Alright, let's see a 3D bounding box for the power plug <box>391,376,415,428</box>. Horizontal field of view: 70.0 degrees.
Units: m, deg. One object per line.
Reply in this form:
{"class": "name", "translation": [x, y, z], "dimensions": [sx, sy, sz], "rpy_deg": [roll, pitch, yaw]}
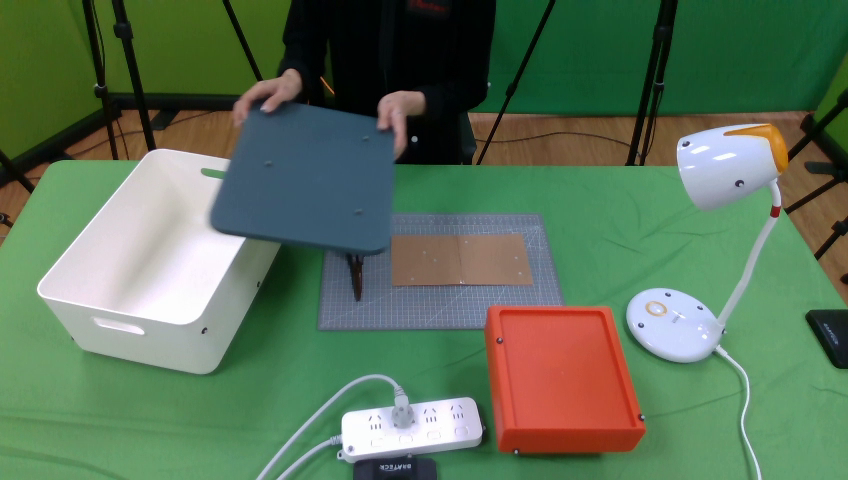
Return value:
{"class": "power plug", "translation": [-0.030, 0.249, 0.917], "dimensions": [0.035, 0.053, 0.072], "rpy_deg": [3, 46, 0]}

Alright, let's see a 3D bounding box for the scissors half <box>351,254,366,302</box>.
{"class": "scissors half", "translation": [-0.125, 0.051, 1.154], "dimensions": [0.040, 0.013, 0.174], "rpy_deg": [33, 33, -28]}

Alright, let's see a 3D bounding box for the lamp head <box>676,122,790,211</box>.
{"class": "lamp head", "translation": [0.423, -0.104, 0.819], "dimensions": [0.122, 0.113, 0.112], "rpy_deg": [-13, 33, 40]}

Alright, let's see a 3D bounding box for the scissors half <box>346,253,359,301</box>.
{"class": "scissors half", "translation": [-0.140, 0.043, 1.143], "dimensions": [0.040, 0.013, 0.174], "rpy_deg": [18, 41, -37]}

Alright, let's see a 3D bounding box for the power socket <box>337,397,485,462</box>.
{"class": "power socket", "translation": [-0.018, 0.285, 0.915], "dimensions": [0.227, 0.033, 0.071], "rpy_deg": [-4, 46, -8]}

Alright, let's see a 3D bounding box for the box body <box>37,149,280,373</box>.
{"class": "box body", "translation": [-0.414, 0.029, 1.040], "dimensions": [0.254, 0.161, 0.362], "rpy_deg": [10, 46, 5]}

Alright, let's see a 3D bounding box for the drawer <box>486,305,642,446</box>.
{"class": "drawer", "translation": [0.202, 0.200, 0.919], "dimensions": [0.195, 0.073, 0.210], "rpy_deg": [2, 47, -4]}

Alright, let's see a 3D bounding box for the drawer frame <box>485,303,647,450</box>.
{"class": "drawer frame", "translation": [0.204, 0.202, 0.917], "dimensions": [0.202, 0.083, 0.212], "rpy_deg": [1, 47, -4]}

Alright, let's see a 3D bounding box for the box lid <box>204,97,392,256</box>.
{"class": "box lid", "translation": [-0.184, -0.118, 0.992], "dimensions": [0.264, 0.015, 0.369], "rpy_deg": [9, 42, -10]}

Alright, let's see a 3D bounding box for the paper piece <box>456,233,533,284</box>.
{"class": "paper piece", "translation": [0.136, 0.035, 1.182], "dimensions": [0.136, 0.009, 0.137], "rpy_deg": [3, 45, -7]}

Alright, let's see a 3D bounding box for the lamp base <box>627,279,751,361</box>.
{"class": "lamp base", "translation": [0.460, 0.100, 1.027], "dimensions": [0.178, 0.181, 0.160], "rpy_deg": [27, 51, 17]}

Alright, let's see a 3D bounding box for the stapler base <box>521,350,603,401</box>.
{"class": "stapler base", "translation": [0.217, 0.203, 0.942], "dimensions": [0.130, 0.024, 0.041], "rpy_deg": [26, 33, 16]}

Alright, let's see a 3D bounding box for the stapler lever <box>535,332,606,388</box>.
{"class": "stapler lever", "translation": [0.225, 0.181, 0.929], "dimensions": [0.118, 0.040, 0.027], "rpy_deg": [27, 34, 15]}

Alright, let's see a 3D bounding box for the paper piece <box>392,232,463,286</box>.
{"class": "paper piece", "translation": [0.005, 0.035, 1.169], "dimensions": [0.135, 0.004, 0.135], "rpy_deg": [2, 46, -4]}
